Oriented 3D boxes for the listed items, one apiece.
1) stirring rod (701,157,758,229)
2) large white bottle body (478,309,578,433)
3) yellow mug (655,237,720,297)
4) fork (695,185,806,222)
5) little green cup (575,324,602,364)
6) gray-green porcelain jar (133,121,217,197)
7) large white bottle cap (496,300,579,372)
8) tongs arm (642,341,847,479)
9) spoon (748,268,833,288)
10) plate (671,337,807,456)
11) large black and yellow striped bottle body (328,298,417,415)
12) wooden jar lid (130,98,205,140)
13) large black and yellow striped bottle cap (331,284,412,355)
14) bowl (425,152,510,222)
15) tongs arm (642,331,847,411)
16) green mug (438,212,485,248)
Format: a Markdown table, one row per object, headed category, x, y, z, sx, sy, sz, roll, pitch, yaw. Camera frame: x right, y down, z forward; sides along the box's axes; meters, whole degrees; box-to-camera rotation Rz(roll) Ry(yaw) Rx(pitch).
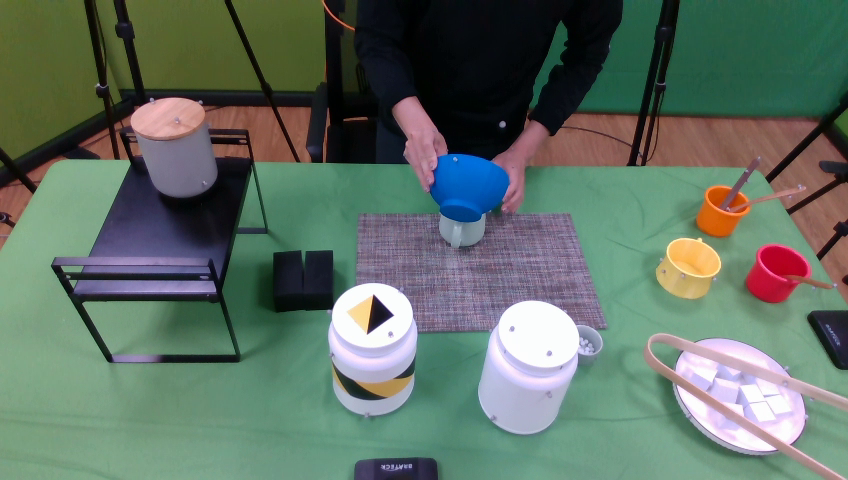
| category | x | y | z | sx | sy | sz | roll | pitch | yaw |
| --- | --- | --- | --- | --- | --- | --- | --- | --- | --- |
| stirring rod | 0.634 | -0.096 | 1.257 | 0.014 | 0.006 | 0.176 | 38 | 97 | 30 |
| large white bottle body | 0.156 | 0.192 | 0.913 | 0.131 | 0.185 | 0.130 | 2 | 46 | -2 |
| yellow mug | 0.509 | 0.041 | 1.167 | 0.099 | 0.064 | 0.130 | 24 | 48 | 18 |
| fork | 0.658 | -0.074 | 1.230 | 0.207 | 0.019 | 0.028 | -23 | 36 | 37 |
| little green cup | 0.269 | 0.180 | 1.036 | 0.061 | 0.039 | 0.061 | 2 | 45 | -2 |
| gray-green porcelain jar | -0.397 | -0.141 | 0.980 | 0.106 | 0.127 | 0.105 | 2 | 47 | -2 |
| large white bottle cap | 0.160 | 0.133 | 0.852 | 0.115 | 0.018 | 0.114 | 3 | 46 | -2 |
| tongs arm | 0.504 | 0.278 | 0.918 | 0.386 | 0.028 | 0.028 | 34 | 59 | 22 |
| spoon | 0.660 | 0.068 | 1.097 | 0.041 | 0.193 | 0.021 | -4 | 91 | -6 |
| plate | 0.504 | 0.254 | 0.984 | 0.208 | 0.039 | 0.206 | 2 | 46 | -2 |
| large black and yellow striped bottle body | -0.078 | 0.167 | 0.920 | 0.131 | 0.185 | 0.130 | 2 | 46 | -2 |
| wooden jar lid | -0.393 | -0.183 | 0.934 | 0.108 | 0.021 | 0.107 | 3 | 43 | -2 |
| large black and yellow striped bottle cap | -0.073 | 0.110 | 0.858 | 0.115 | 0.019 | 0.114 | 2 | 46 | -2 |
| bowl | 0.069 | -0.081 | 1.052 | 0.151 | 0.152 | 0.076 | 10 | 71 | 5 |
| tongs arm | 0.546 | 0.227 | 0.968 | 0.384 | 0.026 | 0.050 | 22 | 52 | 13 |
| green mug | 0.071 | -0.039 | 1.178 | 0.092 | 0.105 | 0.124 | 12 | 47 | 7 |
